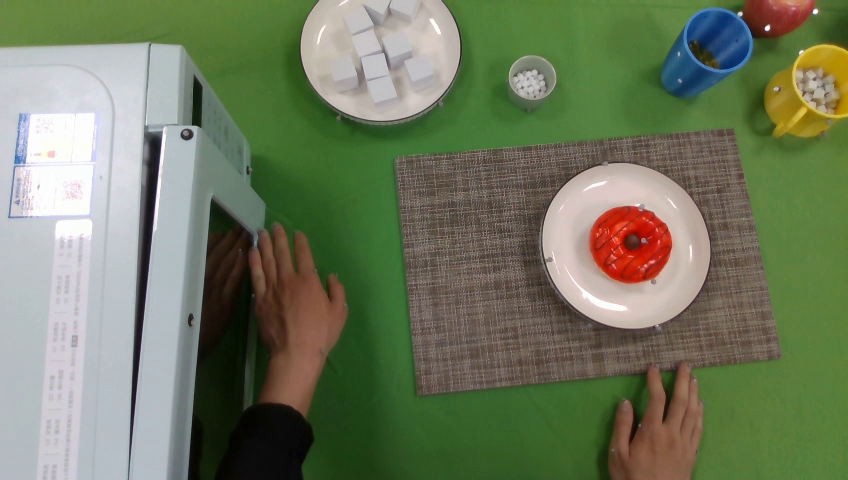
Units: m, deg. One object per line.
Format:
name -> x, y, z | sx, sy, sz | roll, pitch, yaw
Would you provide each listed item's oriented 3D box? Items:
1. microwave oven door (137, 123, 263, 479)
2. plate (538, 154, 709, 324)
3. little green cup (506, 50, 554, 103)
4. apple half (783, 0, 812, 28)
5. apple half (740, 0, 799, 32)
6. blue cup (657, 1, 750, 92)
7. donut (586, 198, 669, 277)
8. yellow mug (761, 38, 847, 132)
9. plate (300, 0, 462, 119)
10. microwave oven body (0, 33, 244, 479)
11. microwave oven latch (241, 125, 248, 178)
microwave oven door -> -0.210, 0.096, 0.594 | 0.039, 0.244, 0.354 | 0, 78, -1
plate -> 0.241, -0.001, 0.746 | 0.209, 0.038, 0.208 | 0, 79, -2
little green cup -> 0.135, -0.210, 0.789 | 0.061, 0.039, 0.061 | 0, 78, -1
apple half -> 0.490, -0.319, 0.803 | 0.033, 0.081, 0.081 | 0, 78, 1
apple half -> 0.451, -0.319, 0.803 | 0.053, 0.075, 0.080 | 0, 82, 2
blue cup -> 0.345, -0.236, 0.768 | 0.093, 0.100, 0.092 | 0, 80, -2
donut -> 0.246, -0.003, 0.736 | 0.099, 0.048, 0.098 | 0, 79, 0
yellow mug -> 0.493, -0.189, 0.782 | 0.099, 0.064, 0.130 | 42, 81, 6
plate -> -0.055, -0.252, 0.790 | 0.208, 0.039, 0.206 | 0, 79, -2
microwave oven body -> -0.367, 0.061, 0.601 | 0.326, 0.261, 0.439 | -2, 79, -3
microwave oven latch -> -0.230, -0.098, 0.735 | 0.030, 0.029, 0.079 | 0, 79, -2
